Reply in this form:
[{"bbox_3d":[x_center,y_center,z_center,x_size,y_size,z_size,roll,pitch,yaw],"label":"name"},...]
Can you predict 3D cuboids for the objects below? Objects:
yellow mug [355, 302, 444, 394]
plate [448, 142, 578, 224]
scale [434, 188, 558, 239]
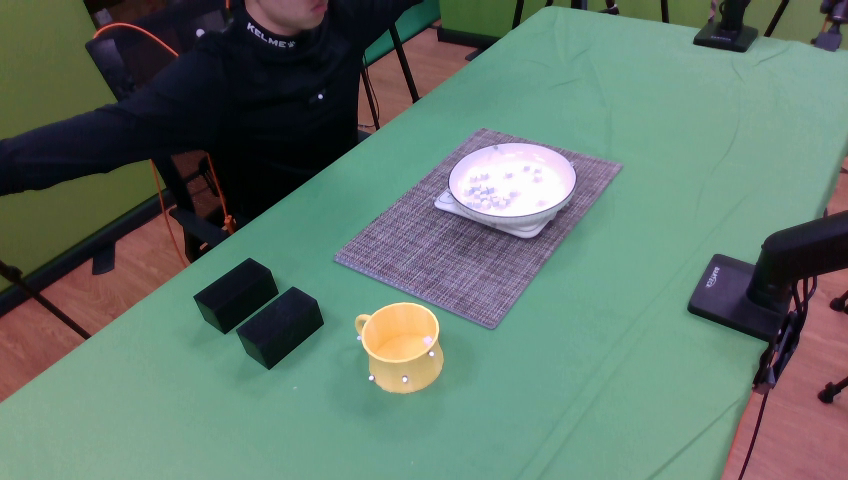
[{"bbox_3d":[-0.040,0.133,0.786,0.130,0.064,0.100,20,47,29],"label":"yellow mug"},{"bbox_3d":[0.145,-0.089,0.989,0.209,0.038,0.208,-4,41,4],"label":"plate"},{"bbox_3d":[0.132,-0.075,1.025,0.199,0.032,0.149,22,48,30],"label":"scale"}]
